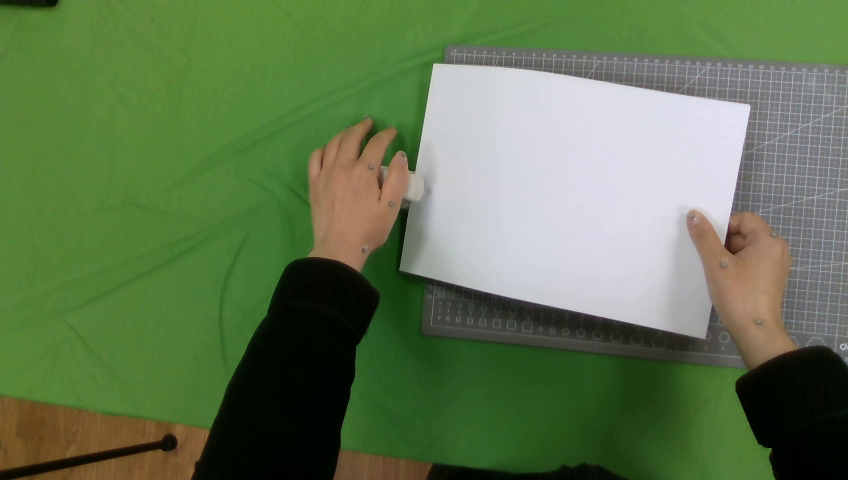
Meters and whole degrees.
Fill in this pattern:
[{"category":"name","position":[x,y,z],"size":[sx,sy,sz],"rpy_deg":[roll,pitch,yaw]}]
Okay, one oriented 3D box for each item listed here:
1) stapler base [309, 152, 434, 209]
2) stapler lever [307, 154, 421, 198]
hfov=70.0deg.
[{"category":"stapler base","position":[-0.056,-0.062,0.618],"size":[0.130,0.024,0.041],"rpy_deg":[11,87,9]},{"category":"stapler lever","position":[-0.061,-0.064,0.595],"size":[0.118,0.040,0.027],"rpy_deg":[11,87,8]}]
